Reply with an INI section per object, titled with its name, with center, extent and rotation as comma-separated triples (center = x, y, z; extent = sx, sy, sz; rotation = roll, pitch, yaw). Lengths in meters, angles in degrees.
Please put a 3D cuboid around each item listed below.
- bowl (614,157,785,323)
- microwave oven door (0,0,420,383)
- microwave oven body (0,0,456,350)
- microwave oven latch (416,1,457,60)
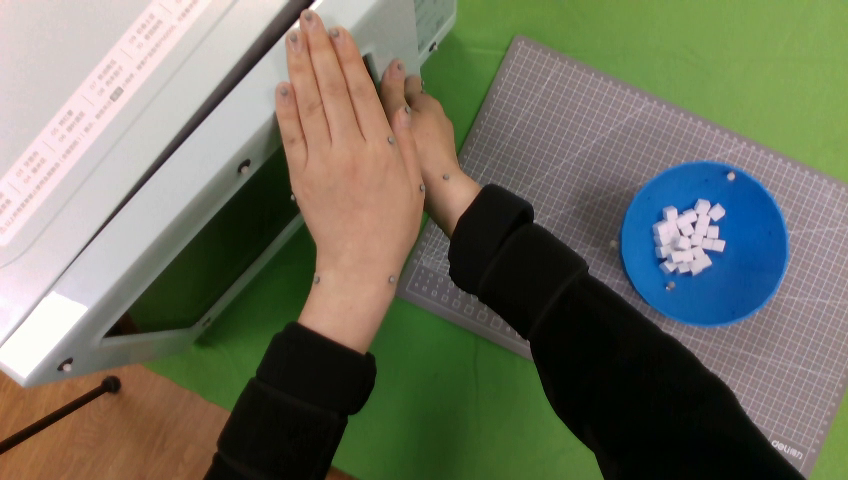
[bowl]
center = 0.249, 0.002, 0.581
extent = 0.151, 0.077, 0.151
rotation = 0, 86, 1
[microwave oven door]
center = -0.137, -0.042, 0.491
extent = 0.039, 0.244, 0.355
rotation = 42, 87, 4
[microwave oven body]
center = -0.230, -0.172, 0.506
extent = 0.325, 0.260, 0.441
rotation = 39, 88, 3
[microwave oven latch]
center = -0.001, -0.209, 0.602
extent = 0.030, 0.029, 0.079
rotation = 41, 88, 3
